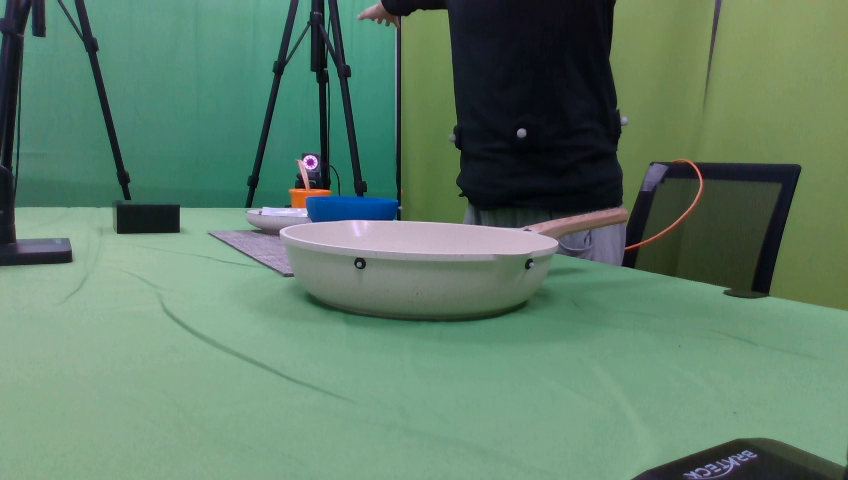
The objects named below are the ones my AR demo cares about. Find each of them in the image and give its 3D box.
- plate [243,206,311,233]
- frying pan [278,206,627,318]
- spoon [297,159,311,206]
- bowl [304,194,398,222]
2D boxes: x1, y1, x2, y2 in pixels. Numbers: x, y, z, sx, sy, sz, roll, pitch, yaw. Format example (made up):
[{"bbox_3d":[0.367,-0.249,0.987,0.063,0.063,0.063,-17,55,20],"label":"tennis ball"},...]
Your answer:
[{"bbox_3d":[-0.235,-0.037,1.150,0.208,0.039,0.207,2,7,0],"label":"plate"},{"bbox_3d":[0.079,0.002,0.705,0.490,0.102,0.305,-12,15,-33],"label":"frying pan"},{"bbox_3d":[-0.260,-0.113,1.340,0.042,0.193,0.021,-1,-37,-24],"label":"spoon"},{"bbox_3d":[-0.118,-0.031,0.973,0.151,0.077,0.151,3,7,0],"label":"bowl"}]
